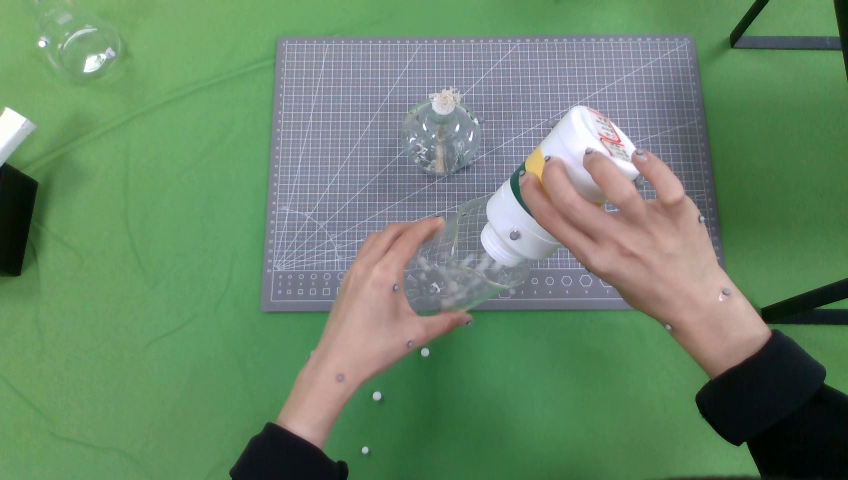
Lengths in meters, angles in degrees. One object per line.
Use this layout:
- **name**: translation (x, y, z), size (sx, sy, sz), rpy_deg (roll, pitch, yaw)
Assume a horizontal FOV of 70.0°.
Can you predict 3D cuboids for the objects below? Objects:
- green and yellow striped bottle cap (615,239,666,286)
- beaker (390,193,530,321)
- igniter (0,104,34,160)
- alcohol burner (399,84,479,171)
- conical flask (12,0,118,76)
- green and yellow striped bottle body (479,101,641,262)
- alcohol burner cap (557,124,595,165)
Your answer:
- **green and yellow striped bottle cap**: translation (0.210, 0.021, 0.585), size (0.045, 0.020, 0.045), rpy_deg (0, 76, 0)
- **beaker**: translation (0.023, 0.019, 0.487), size (0.084, 0.100, 0.074), rpy_deg (-24, 81, -43)
- **igniter**: translation (-0.457, -0.009, 0.544), size (0.057, 0.025, 0.276), rpy_deg (29, 76, 17)
- **alcohol burner**: translation (0.015, -0.111, 0.569), size (0.078, 0.119, 0.077), rpy_deg (0, 74, -1)
- **conical flask**: translation (-0.367, -0.224, 0.599), size (0.075, 0.122, 0.075), rpy_deg (0, 75, 1)
- **green and yellow striped bottle body**: translation (0.090, -0.034, 0.433), size (0.063, 0.120, 0.062), rpy_deg (25, 38, -21)
- **alcohol burner cap**: translation (0.153, -0.098, 0.602), size (0.034, 0.048, 0.033), rpy_deg (0, 75, 0)
